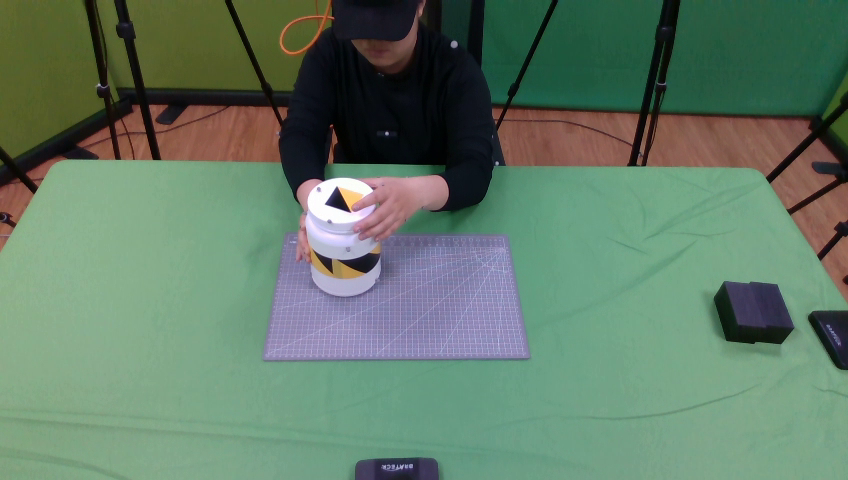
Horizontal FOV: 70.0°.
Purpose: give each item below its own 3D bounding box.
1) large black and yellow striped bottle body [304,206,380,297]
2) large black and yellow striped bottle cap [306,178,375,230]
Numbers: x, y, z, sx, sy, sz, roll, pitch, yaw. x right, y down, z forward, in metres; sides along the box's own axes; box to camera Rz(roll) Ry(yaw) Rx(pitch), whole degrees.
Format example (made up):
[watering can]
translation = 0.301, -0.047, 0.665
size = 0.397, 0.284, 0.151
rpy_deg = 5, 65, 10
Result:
[large black and yellow striped bottle body]
translation = -0.143, -0.003, 1.074
size = 0.131, 0.185, 0.130
rpy_deg = 2, 46, -2
[large black and yellow striped bottle cap]
translation = -0.139, -0.062, 1.014
size = 0.115, 0.019, 0.114
rpy_deg = 3, 46, -3
